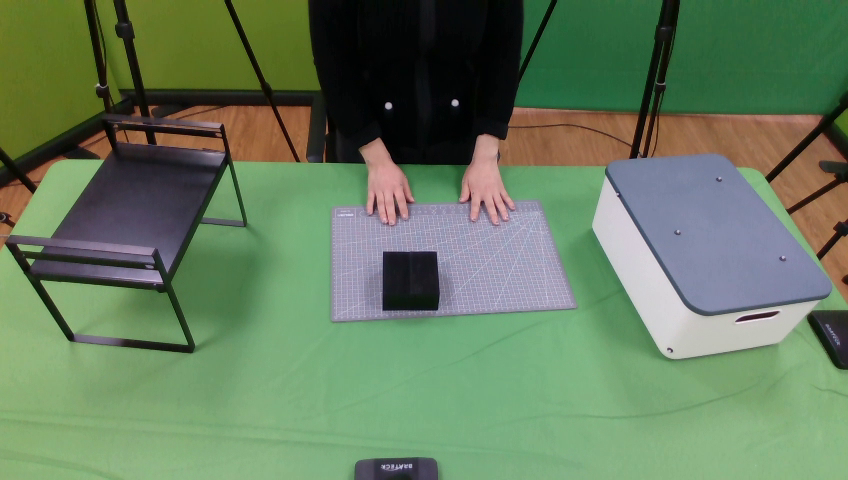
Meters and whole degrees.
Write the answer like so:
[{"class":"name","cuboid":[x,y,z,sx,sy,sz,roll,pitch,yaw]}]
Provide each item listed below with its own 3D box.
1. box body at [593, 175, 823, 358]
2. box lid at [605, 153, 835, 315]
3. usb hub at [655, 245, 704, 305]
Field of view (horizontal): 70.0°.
[{"class":"box body","cuboid":[0.496,0.023,1.112,0.254,0.161,0.361,-7,47,-10]},{"class":"box lid","cuboid":[0.499,-0.030,1.060,0.264,0.015,0.369,-6,47,-10]},{"class":"usb hub","cuboid":[0.481,0.065,1.148,0.049,0.025,0.124,-1,52,-8]}]
